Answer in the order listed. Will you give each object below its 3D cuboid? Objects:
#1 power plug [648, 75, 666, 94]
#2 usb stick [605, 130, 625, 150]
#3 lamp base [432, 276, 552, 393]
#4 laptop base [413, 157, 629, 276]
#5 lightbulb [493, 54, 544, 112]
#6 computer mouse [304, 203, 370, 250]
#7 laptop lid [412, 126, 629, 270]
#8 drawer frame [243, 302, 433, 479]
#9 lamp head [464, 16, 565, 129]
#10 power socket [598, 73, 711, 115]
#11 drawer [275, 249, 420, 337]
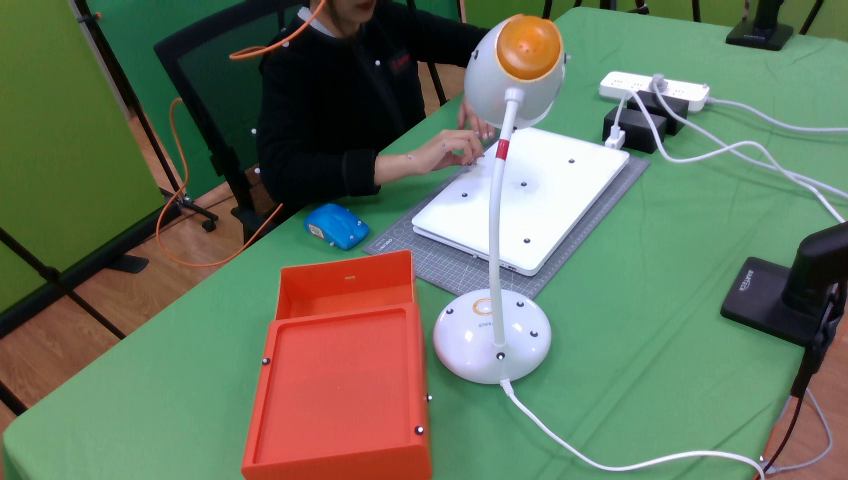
[{"bbox_3d":[0.457,-0.301,1.212,0.073,0.053,0.035,-36,46,-28],"label":"power plug"},{"bbox_3d":[0.348,-0.175,1.110,0.021,0.027,0.059,21,53,28],"label":"usb stick"},{"bbox_3d":[0.085,0.075,0.756,0.161,0.181,0.178,-14,44,-6],"label":"lamp base"},{"bbox_3d":[0.175,-0.077,1.048,0.233,0.023,0.355,19,47,34],"label":"laptop base"},{"bbox_3d":[0.109,-0.181,0.679,0.059,0.059,0.107,-10,-3,0],"label":"lightbulb"},{"bbox_3d":[-0.151,-0.026,1.037,0.116,0.041,0.063,28,50,31],"label":"computer mouse"},{"bbox_3d":[0.171,-0.092,1.038,0.240,0.013,0.358,24,50,32],"label":"laptop lid"},{"bbox_3d":[-0.096,0.185,0.738,0.202,0.083,0.212,-8,40,1],"label":"drawer frame"},{"bbox_3d":[0.101,-0.184,0.655,0.112,0.112,0.123,-9,0,0],"label":"lamp head"},{"bbox_3d":[0.470,-0.303,1.249,0.225,0.033,0.072,20,49,30],"label":"power socket"},{"bbox_3d":[-0.104,0.117,0.825,0.194,0.073,0.210,-8,40,1],"label":"drawer"}]
